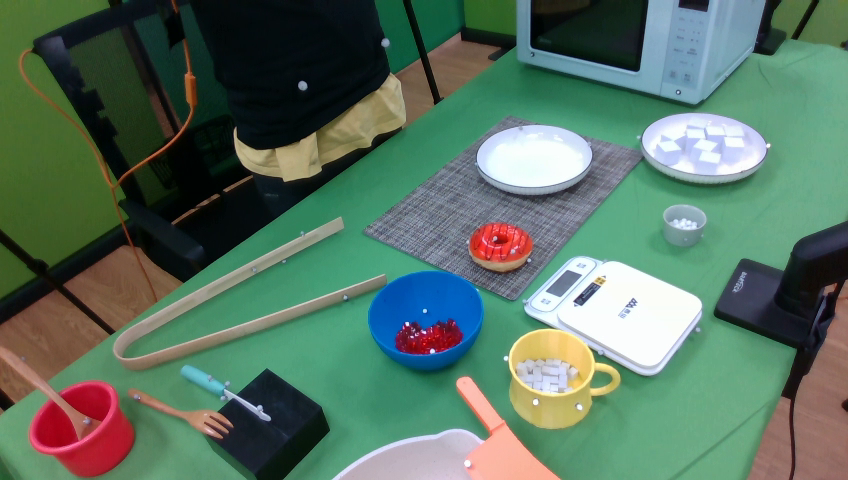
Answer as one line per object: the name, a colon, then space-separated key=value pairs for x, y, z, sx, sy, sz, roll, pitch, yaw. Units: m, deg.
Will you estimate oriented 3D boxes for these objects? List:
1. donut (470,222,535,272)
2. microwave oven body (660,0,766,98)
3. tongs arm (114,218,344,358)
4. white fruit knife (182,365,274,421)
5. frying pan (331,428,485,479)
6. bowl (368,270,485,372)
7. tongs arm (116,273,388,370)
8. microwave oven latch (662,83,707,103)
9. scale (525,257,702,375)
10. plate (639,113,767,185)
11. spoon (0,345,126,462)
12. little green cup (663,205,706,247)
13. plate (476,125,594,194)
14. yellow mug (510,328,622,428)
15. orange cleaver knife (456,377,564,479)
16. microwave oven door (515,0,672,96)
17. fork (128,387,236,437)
donut: x=0.119 y=0.009 z=0.923 sx=0.099 sy=0.048 sz=0.098 roll=-4 pitch=38 yaw=3
microwave oven body: x=0.472 y=-0.513 z=1.317 sx=0.438 sy=0.261 sz=0.327 roll=26 pitch=51 yaw=34
tongs arm: x=-0.280 y=0.067 z=0.926 sx=0.386 sy=0.026 sz=0.050 roll=-29 pitch=49 yaw=-23
white fruit knife: x=-0.245 y=0.187 z=0.747 sx=0.205 sy=0.027 sz=0.016 roll=9 pitch=42 yaw=40
frying pan: x=-0.089 y=0.305 z=0.564 sx=0.487 sy=0.103 sz=0.306 roll=10 pitch=41 yaw=7
bowl: x=0.007 y=0.118 z=0.791 sx=0.151 sy=0.077 sz=0.150 roll=-4 pitch=40 yaw=4
tongs arm: x=-0.236 y=0.114 z=0.869 sx=0.389 sy=0.028 sz=0.028 roll=-18 pitch=49 yaw=-13
microwave oven latch: x=0.517 y=-0.296 z=1.204 sx=0.078 sy=0.029 sz=0.030 roll=27 pitch=52 yaw=35
scale: x=0.254 y=0.091 z=0.821 sx=0.199 sy=0.032 sz=0.149 roll=28 pitch=51 yaw=35
plate: x=0.489 y=-0.157 z=1.074 sx=0.207 sy=0.039 sz=0.206 roll=-4 pitch=40 yaw=4
spoon: x=-0.434 y=0.192 z=0.720 sx=0.194 sy=0.021 sz=0.042 roll=47 pitch=54 yaw=-7
little green cup: x=0.396 y=-0.020 z=0.926 sx=0.061 sy=0.039 sz=0.061 roll=-4 pitch=40 yaw=4
plate: x=0.199 y=-0.141 z=1.093 sx=0.209 sy=0.038 sz=0.208 roll=-4 pitch=40 yaw=4
yellow mug: x=0.169 y=0.164 z=0.722 sx=0.130 sy=0.064 sz=0.099 roll=0 pitch=40 yaw=8
orange cleaver knife: x=0.081 y=0.220 z=0.611 sx=0.077 sy=0.012 sz=0.209 roll=-26 pitch=43 yaw=-22
microwave oven door: x=0.343 y=-0.454 z=1.259 sx=0.353 sy=0.245 sz=0.039 roll=26 pitch=51 yaw=33
fork: x=-0.305 y=0.207 z=0.744 sx=0.206 sy=0.019 sz=0.028 roll=3 pitch=41 yaw=36
